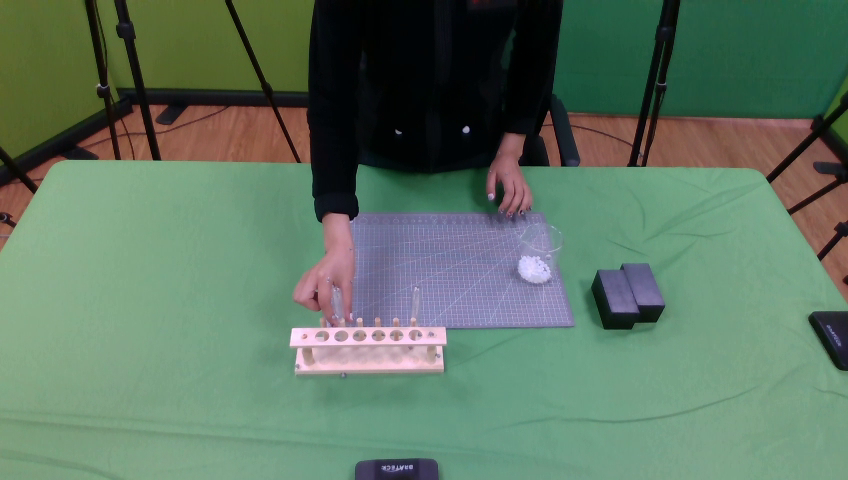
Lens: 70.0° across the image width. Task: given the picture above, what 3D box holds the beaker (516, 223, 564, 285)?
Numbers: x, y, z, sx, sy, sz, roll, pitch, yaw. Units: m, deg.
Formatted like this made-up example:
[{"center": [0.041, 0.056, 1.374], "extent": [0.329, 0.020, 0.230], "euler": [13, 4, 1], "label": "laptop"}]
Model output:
[{"center": [0.211, 0.029, 1.131], "extent": [0.084, 0.101, 0.073], "euler": [-1, 46, -4], "label": "beaker"}]

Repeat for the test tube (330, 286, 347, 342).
[{"center": [-0.135, 0.123, 0.964], "extent": [0.017, 0.151, 0.017], "euler": [0, 48, 0], "label": "test tube"}]

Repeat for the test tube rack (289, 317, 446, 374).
[{"center": [-0.089, 0.167, 0.987], "extent": [0.242, 0.085, 0.066], "euler": [0, 46, -4], "label": "test tube rack"}]

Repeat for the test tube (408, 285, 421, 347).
[{"center": [-0.016, 0.124, 0.973], "extent": [0.017, 0.151, 0.017], "euler": [3, 46, -2], "label": "test tube"}]
